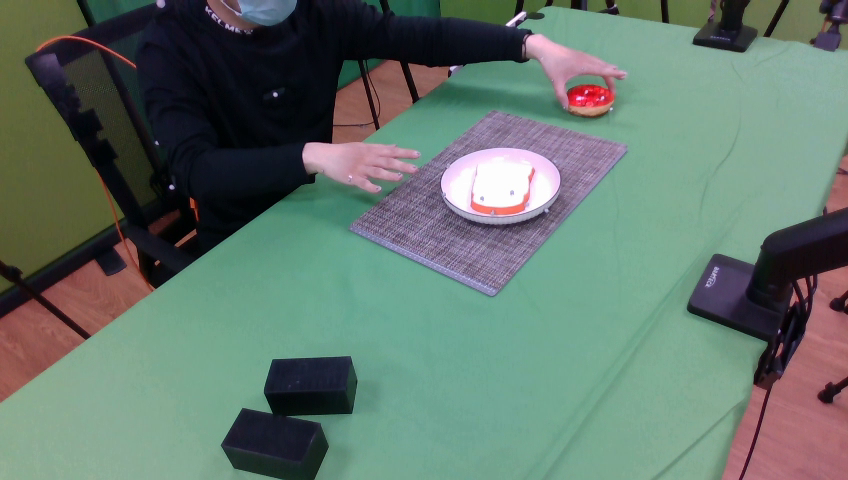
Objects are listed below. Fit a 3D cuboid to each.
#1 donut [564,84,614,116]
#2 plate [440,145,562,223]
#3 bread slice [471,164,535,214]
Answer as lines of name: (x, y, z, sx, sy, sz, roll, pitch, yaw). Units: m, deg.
donut: (0.338, -0.287, 1.238, 0.099, 0.048, 0.098, -4, 39, 3)
plate: (0.131, -0.093, 1.040, 0.207, 0.039, 0.206, -4, 41, 4)
bread slice: (0.134, -0.090, 1.038, 0.104, 0.019, 0.131, 3, 41, 13)
